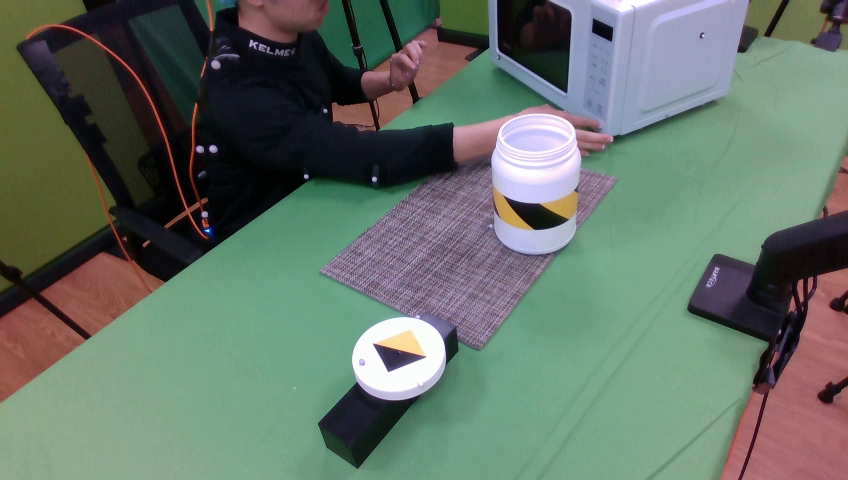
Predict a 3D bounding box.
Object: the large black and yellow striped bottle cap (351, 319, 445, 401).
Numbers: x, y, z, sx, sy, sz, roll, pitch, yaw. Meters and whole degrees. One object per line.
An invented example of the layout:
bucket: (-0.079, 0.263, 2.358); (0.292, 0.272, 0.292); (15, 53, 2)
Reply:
large black and yellow striped bottle cap: (-0.031, 0.143, 0.735); (0.115, 0.019, 0.114); (-3, 40, 3)

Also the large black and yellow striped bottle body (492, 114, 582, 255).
large black and yellow striped bottle body: (0.170, -0.084, 0.912); (0.131, 0.185, 0.130); (-4, 41, 4)

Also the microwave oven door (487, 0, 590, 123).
microwave oven door: (0.232, -0.420, 1.231); (0.039, 0.245, 0.352); (-22, 43, -16)

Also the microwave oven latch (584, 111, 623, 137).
microwave oven latch: (0.337, -0.222, 1.142); (0.030, 0.029, 0.078); (-21, 42, -14)

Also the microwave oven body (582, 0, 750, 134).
microwave oven body: (0.382, -0.444, 1.246); (0.327, 0.261, 0.437); (-22, 42, -16)
